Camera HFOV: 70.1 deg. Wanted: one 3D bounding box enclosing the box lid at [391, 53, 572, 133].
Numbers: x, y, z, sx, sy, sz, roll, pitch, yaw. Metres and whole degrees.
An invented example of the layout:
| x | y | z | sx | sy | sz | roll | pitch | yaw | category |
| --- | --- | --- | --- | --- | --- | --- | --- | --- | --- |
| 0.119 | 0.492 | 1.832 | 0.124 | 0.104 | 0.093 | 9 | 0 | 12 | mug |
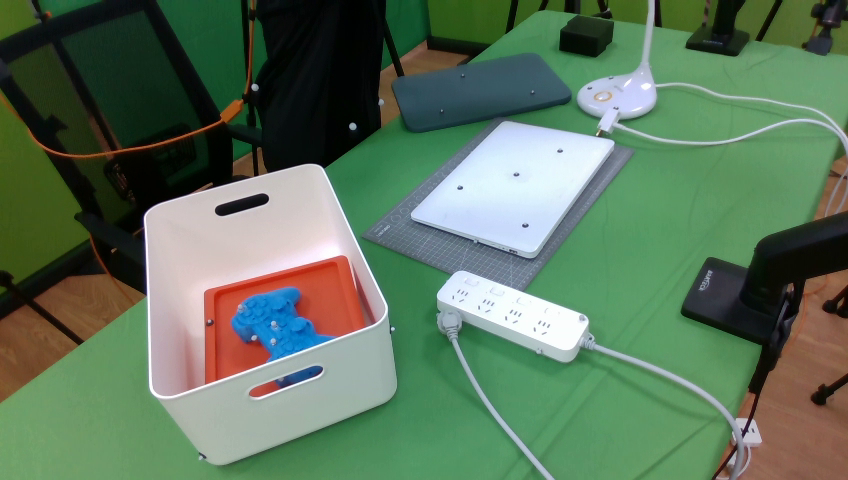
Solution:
| x | y | z | sx | sy | sz | roll | pitch | yaw | category |
| --- | --- | --- | --- | --- | --- | --- | --- | --- | --- |
| 0.122 | -0.339 | 1.366 | 0.372 | 0.015 | 0.261 | -12 | 40 | -5 | box lid |

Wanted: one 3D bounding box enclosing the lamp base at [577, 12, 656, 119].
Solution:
| x | y | z | sx | sy | sz | roll | pitch | yaw | category |
| --- | --- | --- | --- | --- | --- | --- | --- | --- | --- |
| 0.404 | -0.360 | 1.218 | 0.180 | 0.181 | 0.159 | -24 | 43 | -23 | lamp base |

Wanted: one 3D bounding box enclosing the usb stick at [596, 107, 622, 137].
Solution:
| x | y | z | sx | sy | sz | roll | pitch | yaw | category |
| --- | --- | --- | --- | --- | --- | --- | --- | --- | --- |
| 0.355 | -0.223 | 1.168 | 0.027 | 0.059 | 0.022 | 37 | 14 | 34 | usb stick |

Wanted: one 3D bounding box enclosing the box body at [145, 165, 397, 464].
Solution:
| x | y | z | sx | sy | sz | roll | pitch | yaw | category |
| --- | --- | --- | --- | --- | --- | --- | --- | --- | --- |
| -0.205 | 0.080 | 0.802 | 0.255 | 0.161 | 0.361 | -18 | 41 | -13 | box body |

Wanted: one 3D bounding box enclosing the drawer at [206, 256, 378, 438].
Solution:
| x | y | z | sx | sy | sz | roll | pitch | yaw | category |
| --- | --- | --- | --- | --- | --- | --- | --- | --- | --- |
| -0.177 | 0.130 | 0.787 | 0.195 | 0.073 | 0.210 | -14 | 39 | -9 | drawer |

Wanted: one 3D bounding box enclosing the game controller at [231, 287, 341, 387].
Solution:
| x | y | z | sx | sy | sz | roll | pitch | yaw | category |
| --- | --- | --- | --- | --- | --- | --- | --- | --- | --- |
| -0.167 | 0.110 | 0.734 | 0.097 | 0.052 | 0.154 | -34 | 47 | -22 | game controller |

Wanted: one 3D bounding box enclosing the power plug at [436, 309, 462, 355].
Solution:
| x | y | z | sx | sy | sz | roll | pitch | yaw | category |
| --- | --- | --- | --- | --- | --- | --- | --- | --- | --- |
| 0.032 | 0.126 | 0.810 | 0.035 | 0.053 | 0.072 | 3 | 59 | 7 | power plug |

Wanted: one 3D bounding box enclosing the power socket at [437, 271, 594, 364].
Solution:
| x | y | z | sx | sy | sz | roll | pitch | yaw | category |
| --- | --- | --- | --- | --- | --- | --- | --- | --- | --- |
| 0.118 | 0.102 | 0.830 | 0.225 | 0.033 | 0.072 | 20 | 48 | 28 | power socket |

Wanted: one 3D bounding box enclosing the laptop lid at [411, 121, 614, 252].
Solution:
| x | y | z | sx | sy | sz | roll | pitch | yaw | category |
| --- | --- | --- | --- | --- | --- | --- | --- | --- | --- |
| 0.164 | -0.112 | 1.068 | 0.240 | 0.013 | 0.357 | 19 | 46 | 30 | laptop lid |

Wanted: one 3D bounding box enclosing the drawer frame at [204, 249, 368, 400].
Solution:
| x | y | z | sx | sy | sz | roll | pitch | yaw | category |
| --- | --- | --- | --- | --- | --- | --- | --- | --- | --- |
| -0.174 | 0.129 | 0.791 | 0.202 | 0.083 | 0.212 | -16 | 45 | -8 | drawer frame |

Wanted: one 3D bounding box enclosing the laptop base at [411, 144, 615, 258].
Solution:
| x | y | z | sx | sy | sz | roll | pitch | yaw | category |
| --- | --- | --- | --- | --- | --- | --- | --- | --- | --- |
| 0.167 | -0.102 | 1.074 | 0.234 | 0.023 | 0.355 | 16 | 45 | 30 | laptop base |
